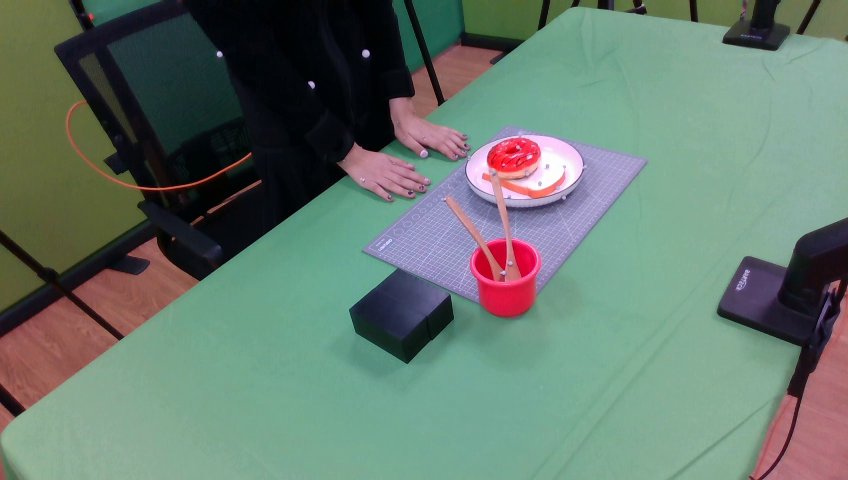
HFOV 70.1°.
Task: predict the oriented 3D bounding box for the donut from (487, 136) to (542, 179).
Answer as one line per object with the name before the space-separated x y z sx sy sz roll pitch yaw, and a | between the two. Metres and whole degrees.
donut | 0.159 -0.147 1.068 0.099 0.048 0.098 -9 39 8

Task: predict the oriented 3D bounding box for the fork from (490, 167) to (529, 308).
fork | 0.118 -0.006 0.857 0.028 0.018 0.206 -7 81 -13

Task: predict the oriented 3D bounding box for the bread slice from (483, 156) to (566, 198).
bread slice | 0.187 -0.120 1.077 0.130 0.019 0.105 27 53 37

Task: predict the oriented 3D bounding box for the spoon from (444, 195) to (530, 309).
spoon | 0.087 0.015 0.849 0.042 0.021 0.193 -31 89 -31

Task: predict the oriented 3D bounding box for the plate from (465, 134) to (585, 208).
plate | 0.178 -0.120 1.075 0.209 0.038 0.208 -5 40 5
